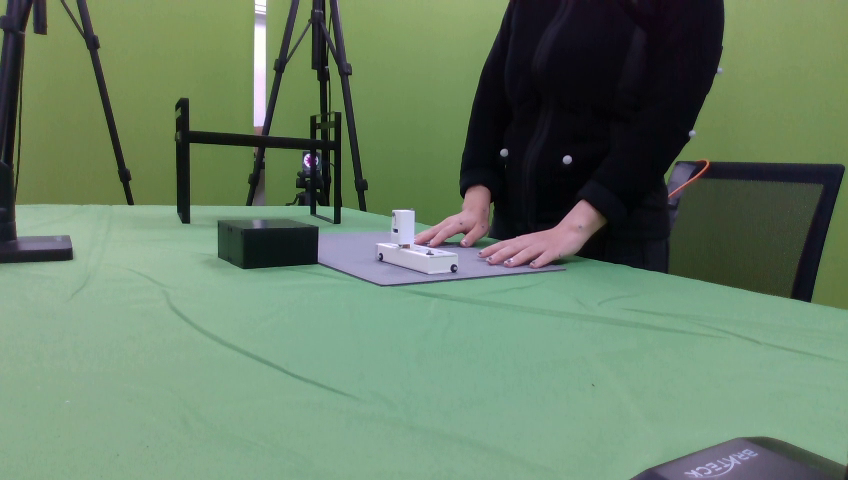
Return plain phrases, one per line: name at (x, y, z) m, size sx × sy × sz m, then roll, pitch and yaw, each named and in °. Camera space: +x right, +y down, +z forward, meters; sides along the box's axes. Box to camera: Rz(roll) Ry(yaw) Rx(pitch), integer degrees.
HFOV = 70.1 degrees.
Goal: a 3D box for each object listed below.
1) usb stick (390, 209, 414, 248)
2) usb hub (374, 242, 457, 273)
usb stick at (-0.029, -0.010, 0.791) m, size 0.027 × 0.059 × 0.021 m, roll -7°, pitch 12°, yaw -38°
usb hub at (-0.014, 0.021, 0.799) m, size 0.050 × 0.025 × 0.124 m, roll -4°, pitch 9°, yaw -37°
